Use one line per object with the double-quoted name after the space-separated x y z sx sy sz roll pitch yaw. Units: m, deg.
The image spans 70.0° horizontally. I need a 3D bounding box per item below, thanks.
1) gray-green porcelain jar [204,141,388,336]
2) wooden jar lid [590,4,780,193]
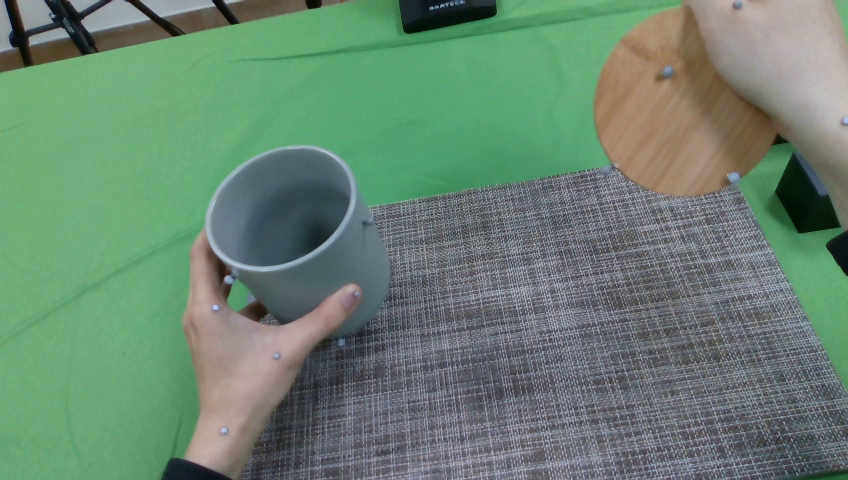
-0.087 0.007 0.458 0.106 0.128 0.105 -5 57 8 "gray-green porcelain jar"
0.153 -0.083 0.362 0.108 0.108 0.020 -7 11 5 "wooden jar lid"
